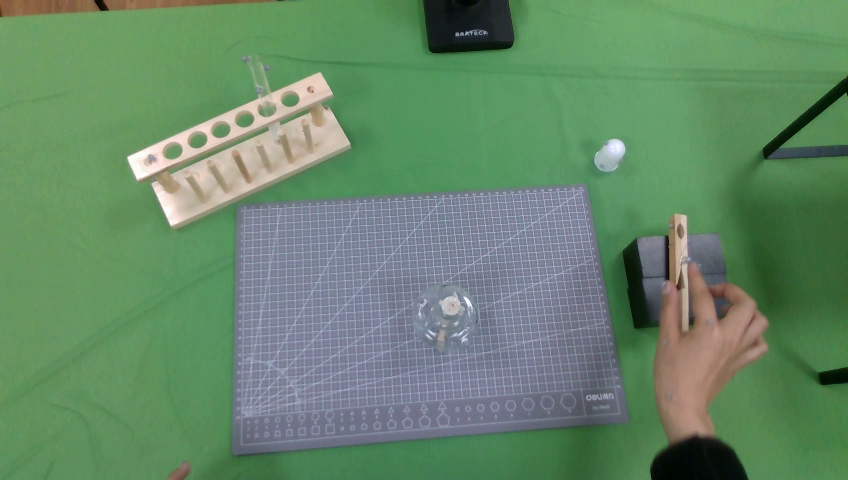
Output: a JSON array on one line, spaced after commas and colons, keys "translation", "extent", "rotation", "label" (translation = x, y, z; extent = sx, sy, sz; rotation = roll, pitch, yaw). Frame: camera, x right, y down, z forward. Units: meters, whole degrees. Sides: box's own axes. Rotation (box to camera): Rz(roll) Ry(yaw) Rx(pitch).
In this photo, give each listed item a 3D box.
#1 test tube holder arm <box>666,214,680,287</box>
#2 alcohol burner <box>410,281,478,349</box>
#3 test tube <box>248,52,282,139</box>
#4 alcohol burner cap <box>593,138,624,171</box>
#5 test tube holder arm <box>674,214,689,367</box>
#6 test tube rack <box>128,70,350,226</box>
[{"translation": [0.292, 0.012, 0.709], "extent": [0.010, 0.015, 0.087], "rotation": [5, 73, 1], "label": "test tube holder arm"}, {"translation": [0.024, 0.080, 0.673], "extent": [0.078, 0.119, 0.077], "rotation": [1, 73, -3], "label": "alcohol burner"}, {"translation": [-0.182, -0.163, 0.707], "extent": [0.017, 0.151, 0.017], "rotation": [1, 66, -3], "label": "test tube"}, {"translation": [0.242, -0.113, 0.785], "extent": [0.034, 0.048, 0.033], "rotation": [0, 72, -1], "label": "alcohol burner cap"}, {"translation": [0.295, 0.056, 0.696], "extent": [0.013, 0.015, 0.177], "rotation": [3, 73, 0], "label": "test tube holder arm"}, {"translation": [-0.217, -0.111, 0.740], "extent": [0.242, 0.085, 0.066], "rotation": [-27, 75, -11], "label": "test tube rack"}]
